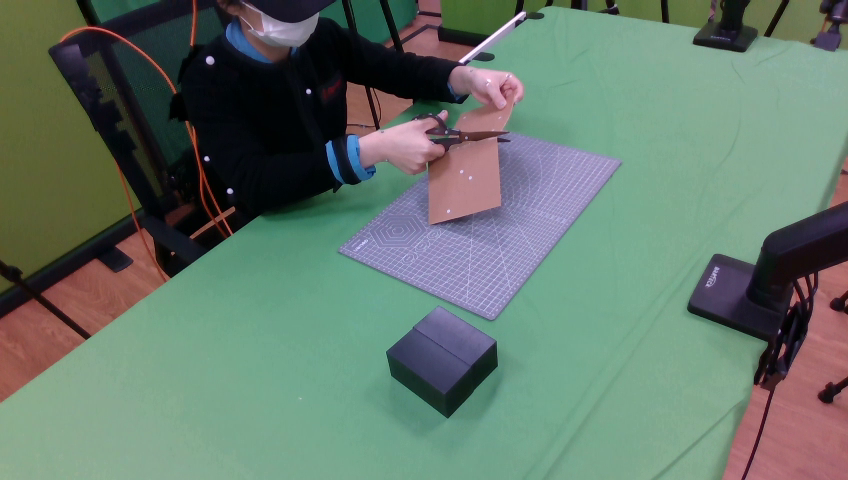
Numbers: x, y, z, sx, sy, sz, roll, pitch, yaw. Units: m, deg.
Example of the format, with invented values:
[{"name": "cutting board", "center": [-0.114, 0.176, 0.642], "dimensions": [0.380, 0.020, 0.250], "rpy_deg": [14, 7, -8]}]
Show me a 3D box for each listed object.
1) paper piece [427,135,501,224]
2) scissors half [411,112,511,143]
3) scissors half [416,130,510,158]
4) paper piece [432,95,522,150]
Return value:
[{"name": "paper piece", "center": [0.063, -0.101, 1.003], "dimensions": [0.134, 0.004, 0.135], "rpy_deg": [-14, 63, 28]}, {"name": "scissors half", "center": [0.060, -0.185, 1.016], "dimensions": [0.175, 0.040, 0.013], "rpy_deg": [15, 47, 9]}, {"name": "scissors half", "center": [0.065, -0.167, 1.030], "dimensions": [0.174, 0.040, 0.013], "rpy_deg": [-9, 34, 29]}, {"name": "paper piece", "center": [0.097, -0.210, 1.085], "dimensions": [0.135, 0.009, 0.138], "rpy_deg": [-5, 38, 36]}]
